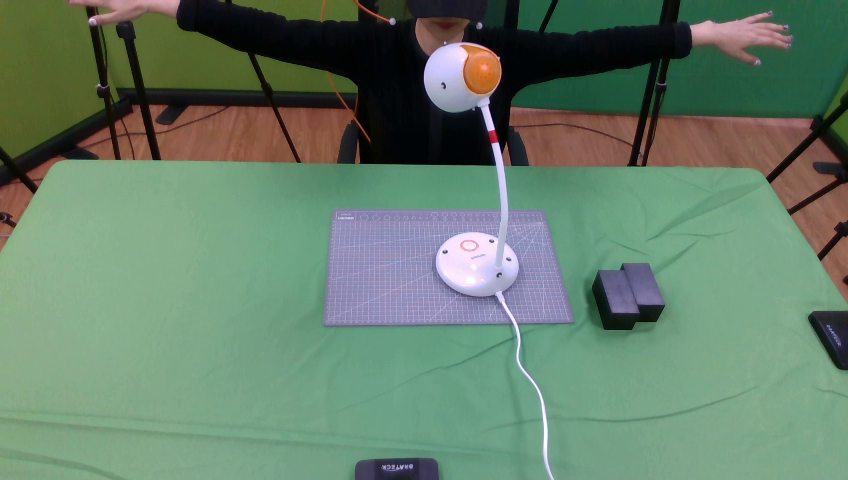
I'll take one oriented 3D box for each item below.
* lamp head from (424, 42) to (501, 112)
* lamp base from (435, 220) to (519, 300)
[{"bbox_3d":[0.071,-0.258,0.961,0.112,0.113,0.122,-16,19,-18],"label":"lamp head"},{"bbox_3d":[0.112,-0.002,1.096,0.161,0.181,0.178,-22,54,-23],"label":"lamp base"}]
